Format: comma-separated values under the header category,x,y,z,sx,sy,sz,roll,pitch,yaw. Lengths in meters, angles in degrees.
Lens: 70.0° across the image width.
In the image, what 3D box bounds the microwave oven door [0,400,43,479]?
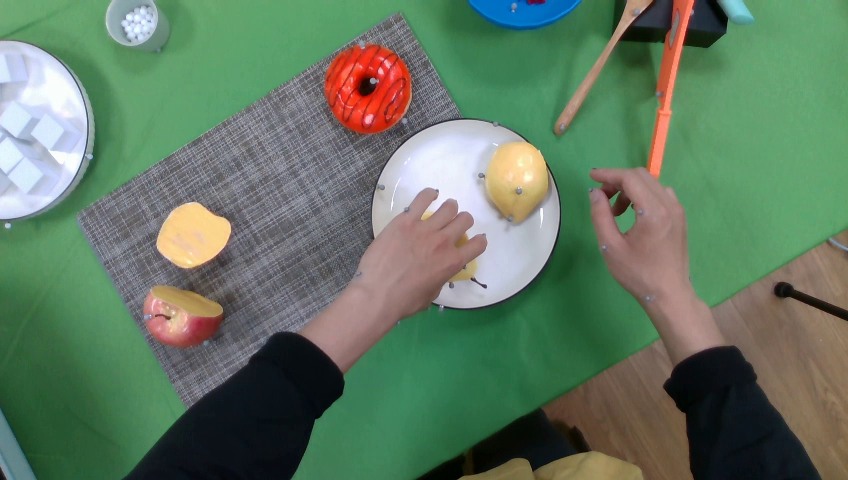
category,x,y,z,sx,sy,sz,roll,pitch,yaw
microwave oven door,-0.484,0.266,0.596,0.039,0.244,0.355,-28,89,4

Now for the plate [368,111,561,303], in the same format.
category,x,y,z,sx,sy,sz,roll,pitch,yaw
plate,0.044,-0.035,0.668,0.209,0.038,0.209,0,91,4

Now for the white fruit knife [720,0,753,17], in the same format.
category,x,y,z,sx,sy,sz,roll,pitch,yaw
white fruit knife,0.270,-0.313,0.611,0.027,0.016,0.207,-28,87,-25

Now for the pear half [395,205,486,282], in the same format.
category,x,y,z,sx,sy,sz,roll,pitch,yaw
pear half,0.022,0.010,0.649,0.109,0.056,0.076,35,98,9

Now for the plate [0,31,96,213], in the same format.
category,x,y,z,sx,sy,sz,roll,pitch,yaw
plate,-0.478,-0.134,0.706,0.207,0.039,0.207,0,91,4

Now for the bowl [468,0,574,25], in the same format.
category,x,y,z,sx,sy,sz,roll,pitch,yaw
bowl,0.102,-0.294,0.641,0.151,0.077,0.151,0,92,4

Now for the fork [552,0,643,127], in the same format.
category,x,y,z,sx,sy,sz,roll,pitch,yaw
fork,0.191,-0.208,0.633,0.028,0.018,0.208,27,113,-5

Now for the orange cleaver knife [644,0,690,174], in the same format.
category,x,y,z,sx,sy,sz,roll,pitch,yaw
orange cleaver knife,0.252,-0.176,0.632,0.012,0.077,0.213,6,117,9

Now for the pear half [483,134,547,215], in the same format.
category,x,y,z,sx,sy,sz,roll,pitch,yaw
pear half,0.093,-0.069,0.649,0.070,0.031,0.088,6,104,29

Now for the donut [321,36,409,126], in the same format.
category,x,y,z,sx,sy,sz,roll,pitch,yaw
donut,-0.065,-0.175,0.669,0.099,0.048,0.099,0,93,6

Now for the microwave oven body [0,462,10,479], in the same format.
category,x,y,z,sx,sy,sz,roll,pitch,yaw
microwave oven body,-0.633,0.297,0.612,0.326,0.260,0.441,-28,90,4

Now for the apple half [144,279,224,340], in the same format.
category,x,y,z,sx,sy,sz,roll,pitch,yaw
apple half,-0.270,0.082,0.675,0.081,0.074,0.053,23,96,-1

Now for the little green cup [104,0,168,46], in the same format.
category,x,y,z,sx,sy,sz,roll,pitch,yaw
little green cup,-0.326,-0.253,0.692,0.061,0.038,0.061,0,91,5

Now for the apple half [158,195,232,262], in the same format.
category,x,y,z,sx,sy,sz,roll,pitch,yaw
apple half,-0.259,-0.007,0.688,0.081,0.033,0.080,1,67,-3
